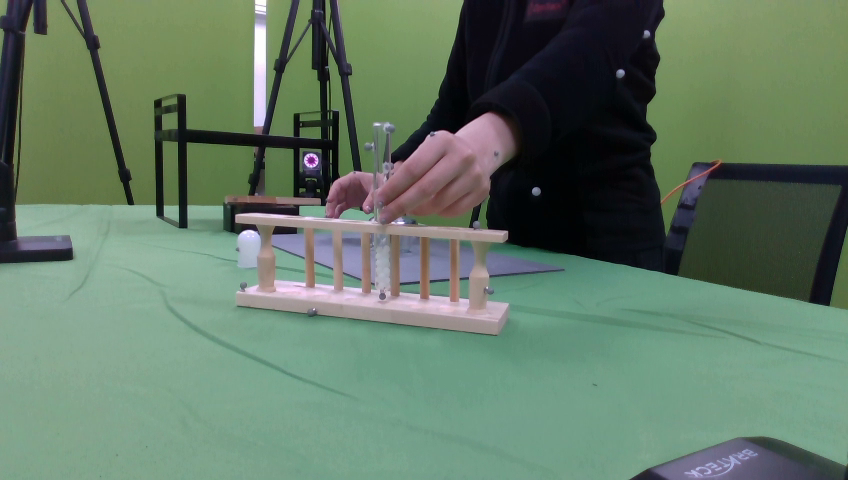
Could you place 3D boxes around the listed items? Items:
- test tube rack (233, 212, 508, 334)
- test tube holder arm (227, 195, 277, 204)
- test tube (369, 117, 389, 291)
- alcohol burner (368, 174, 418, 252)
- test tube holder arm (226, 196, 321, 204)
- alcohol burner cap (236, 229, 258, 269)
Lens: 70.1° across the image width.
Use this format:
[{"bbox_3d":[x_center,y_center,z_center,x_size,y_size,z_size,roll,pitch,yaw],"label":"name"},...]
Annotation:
[{"bbox_3d":[-0.047,0.023,0.547,0.242,0.085,0.067,4,8,15],"label":"test tube rack"},{"bbox_3d":[-0.309,-0.074,1.088,0.088,0.015,0.010,-2,-7,-35],"label":"test tube holder arm"},{"bbox_3d":[-0.038,-0.028,0.516,0.017,0.150,0.017,0,14,0],"label":"test tube"},{"bbox_3d":[-0.047,-0.041,0.922,0.078,0.119,0.078,1,9,0],"label":"alcohol burner"},{"bbox_3d":[-0.274,-0.074,1.118,0.179,0.015,0.013,-2,-7,-34],"label":"test tube holder arm"},{"bbox_3d":[-0.221,0.010,0.759,0.034,0.048,0.034,-1,12,0],"label":"alcohol burner cap"}]
